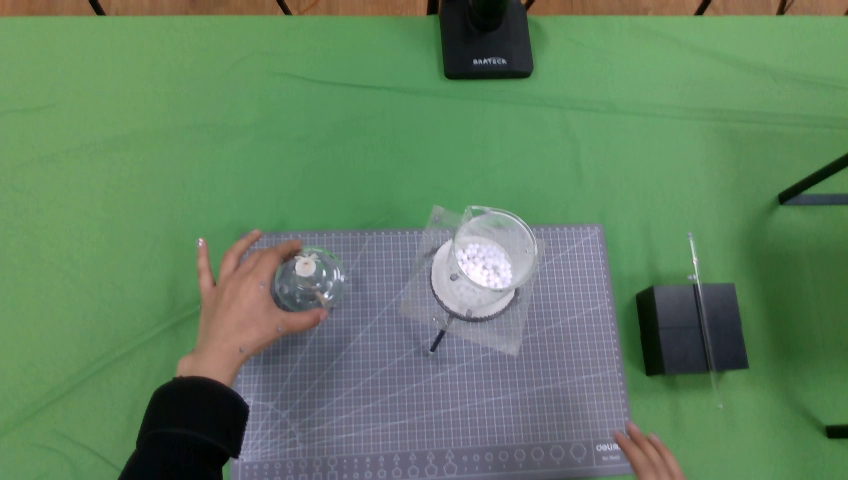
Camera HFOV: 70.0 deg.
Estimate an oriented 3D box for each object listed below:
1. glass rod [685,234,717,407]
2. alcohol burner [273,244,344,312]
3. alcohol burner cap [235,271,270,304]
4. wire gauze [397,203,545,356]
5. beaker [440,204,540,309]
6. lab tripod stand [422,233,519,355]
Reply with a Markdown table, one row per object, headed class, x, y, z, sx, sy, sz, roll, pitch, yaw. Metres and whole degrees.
| class | x | y | z | sx | sy | sz | roll | pitch | yaw |
| --- | --- | --- | --- | --- | --- | --- | --- | --- | --- |
| glass rod | 0.317 | 0.089 | 0.695 | 0.008 | 0.008 | 0.198 | 0 | 74 | -5 |
| alcohol burner | -0.126 | 0.037 | 0.658 | 0.078 | 0.119 | 0.077 | 2 | 72 | -6 |
| alcohol burner cap | -0.195 | 0.051 | 0.684 | 0.034 | 0.048 | 0.033 | 0 | 72 | 2 |
| wire gauze | 0.048 | 0.036 | 0.597 | 0.125 | 0.011 | 0.121 | 20 | 74 | -3 |
| beaker | 0.053 | 0.019 | 0.552 | 0.074 | 0.100 | 0.083 | -25 | 77 | -13 |
| lab tripod stand | 0.046 | 0.053 | 0.661 | 0.148 | 0.132 | 0.147 | 2 | 72 | -6 |
